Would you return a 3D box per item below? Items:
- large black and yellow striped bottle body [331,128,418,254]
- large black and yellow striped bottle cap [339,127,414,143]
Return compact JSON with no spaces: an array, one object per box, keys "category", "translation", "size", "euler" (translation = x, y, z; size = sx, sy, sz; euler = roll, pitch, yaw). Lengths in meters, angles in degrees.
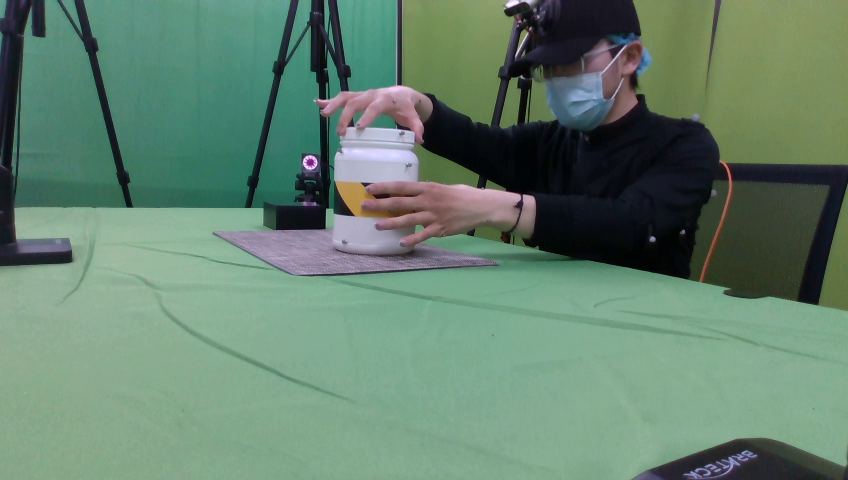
[{"category":"large black and yellow striped bottle body","translation":[-0.076,-0.077,0.932],"size":[0.131,0.184,0.130],"euler":[2,7,0]},{"category":"large black and yellow striped bottle cap","translation":[-0.072,-0.160,0.923],"size":[0.115,0.019,0.115],"euler":[3,8,0]}]
